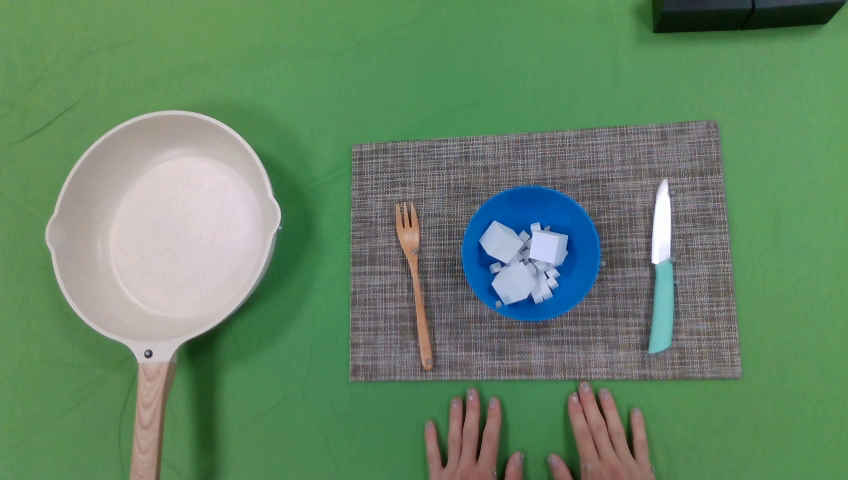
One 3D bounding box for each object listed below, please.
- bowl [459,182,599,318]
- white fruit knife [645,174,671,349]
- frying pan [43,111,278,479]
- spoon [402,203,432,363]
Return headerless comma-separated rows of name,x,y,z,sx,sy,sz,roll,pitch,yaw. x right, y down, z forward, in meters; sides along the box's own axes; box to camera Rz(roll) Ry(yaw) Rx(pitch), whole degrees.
bowl,0.118,0.016,0.691,0.151,0.077,0.151,-1,80,8
white fruit knife,0.272,0.023,0.700,0.027,0.016,0.206,5,81,0
frying pan,-0.319,0.084,0.733,0.306,0.103,0.484,-3,72,8
spoon,-0.008,0.051,0.732,0.041,0.022,0.193,-5,77,22
